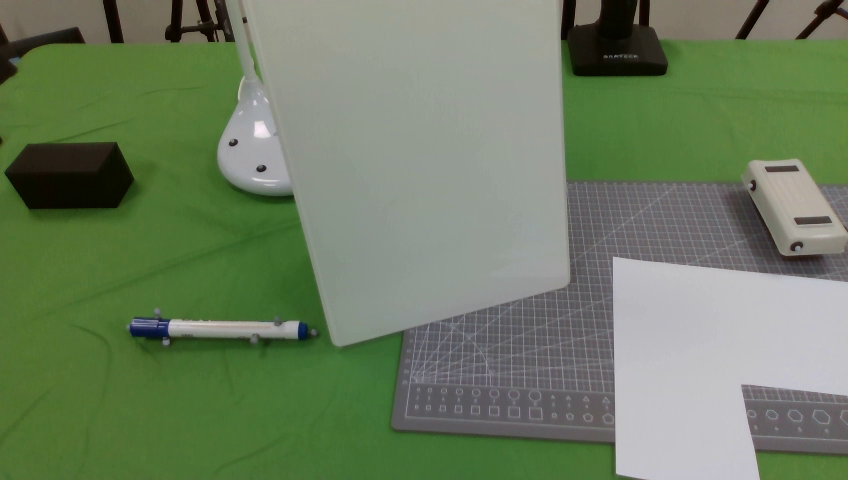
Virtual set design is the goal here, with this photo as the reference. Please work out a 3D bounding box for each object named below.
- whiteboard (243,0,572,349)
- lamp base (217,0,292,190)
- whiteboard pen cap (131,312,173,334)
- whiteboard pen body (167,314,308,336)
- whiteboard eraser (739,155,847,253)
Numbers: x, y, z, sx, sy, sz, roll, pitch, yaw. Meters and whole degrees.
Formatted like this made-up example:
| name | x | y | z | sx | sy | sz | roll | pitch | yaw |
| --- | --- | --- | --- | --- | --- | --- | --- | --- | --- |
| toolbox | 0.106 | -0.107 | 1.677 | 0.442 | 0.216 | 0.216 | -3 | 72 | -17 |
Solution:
| name | x | y | z | sx | sy | sz | roll | pitch | yaw |
| --- | --- | --- | --- | --- | --- | --- | --- | --- | --- |
| whiteboard | -0.009 | -0.097 | 0.514 | 0.217 | 0.308 | 0.142 | -13 | 27 | -9 |
| lamp base | -0.168 | -0.171 | 0.645 | 0.160 | 0.182 | 0.177 | -35 | 50 | -28 |
| whiteboard pen cap | -0.229 | 0.071 | 0.516 | 0.033 | 0.018 | 0.018 | 3 | 45 | -2 |
| whiteboard pen body | -0.170 | 0.072 | 0.515 | 0.141 | 0.017 | 0.017 | 1 | 45 | 0 |
| whiteboard eraser | 0.343 | -0.033 | 0.571 | 0.055 | 0.042 | 0.111 | 0 | 45 | 2 |
